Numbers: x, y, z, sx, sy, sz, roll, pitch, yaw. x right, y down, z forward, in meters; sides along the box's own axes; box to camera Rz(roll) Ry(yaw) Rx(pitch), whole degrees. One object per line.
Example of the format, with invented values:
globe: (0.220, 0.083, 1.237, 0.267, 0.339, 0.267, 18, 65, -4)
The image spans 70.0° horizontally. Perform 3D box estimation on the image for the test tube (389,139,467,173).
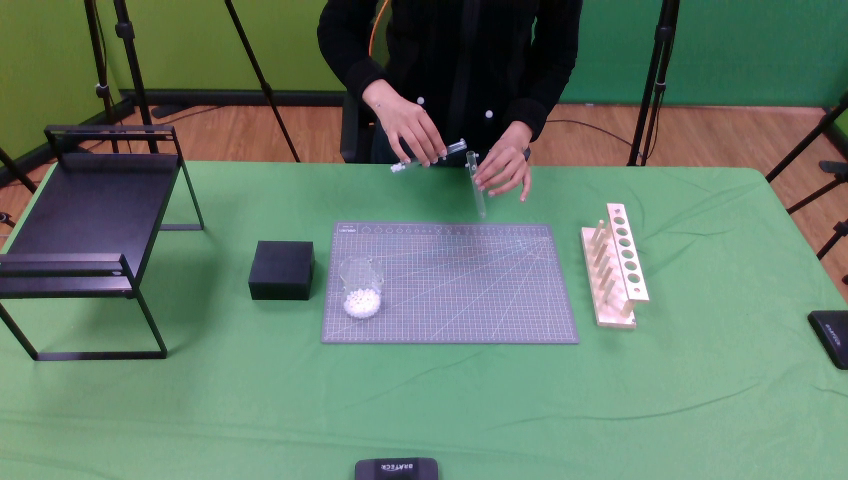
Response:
test tube: (0.006, -0.149, 1.080, 0.150, 0.017, 0.017, -18, 44, 17)

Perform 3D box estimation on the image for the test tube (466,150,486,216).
test tube: (0.097, -0.103, 1.124, 0.017, 0.151, 0.017, -9, 43, 9)

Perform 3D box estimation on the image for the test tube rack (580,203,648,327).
test tube rack: (0.352, 0.041, 1.143, 0.067, 0.085, 0.241, 4, 46, 0)

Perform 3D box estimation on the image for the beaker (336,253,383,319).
beaker: (-0.108, 0.084, 1.052, 0.084, 0.101, 0.074, 25, 50, 17)
